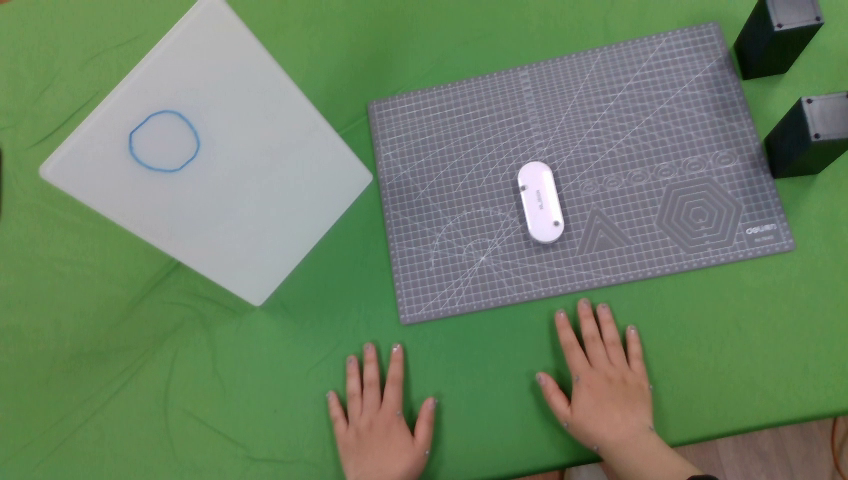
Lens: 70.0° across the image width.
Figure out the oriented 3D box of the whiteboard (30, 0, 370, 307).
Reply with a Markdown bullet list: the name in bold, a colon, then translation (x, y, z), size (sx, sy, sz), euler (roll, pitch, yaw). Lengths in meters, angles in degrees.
- **whiteboard**: translation (-0.240, -0.101, 0.670), size (0.142, 0.309, 0.217), euler (37, 83, 36)

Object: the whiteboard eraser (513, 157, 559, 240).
- **whiteboard eraser**: translation (0.131, -0.050, 0.715), size (0.041, 0.019, 0.100), euler (-11, 75, 5)
